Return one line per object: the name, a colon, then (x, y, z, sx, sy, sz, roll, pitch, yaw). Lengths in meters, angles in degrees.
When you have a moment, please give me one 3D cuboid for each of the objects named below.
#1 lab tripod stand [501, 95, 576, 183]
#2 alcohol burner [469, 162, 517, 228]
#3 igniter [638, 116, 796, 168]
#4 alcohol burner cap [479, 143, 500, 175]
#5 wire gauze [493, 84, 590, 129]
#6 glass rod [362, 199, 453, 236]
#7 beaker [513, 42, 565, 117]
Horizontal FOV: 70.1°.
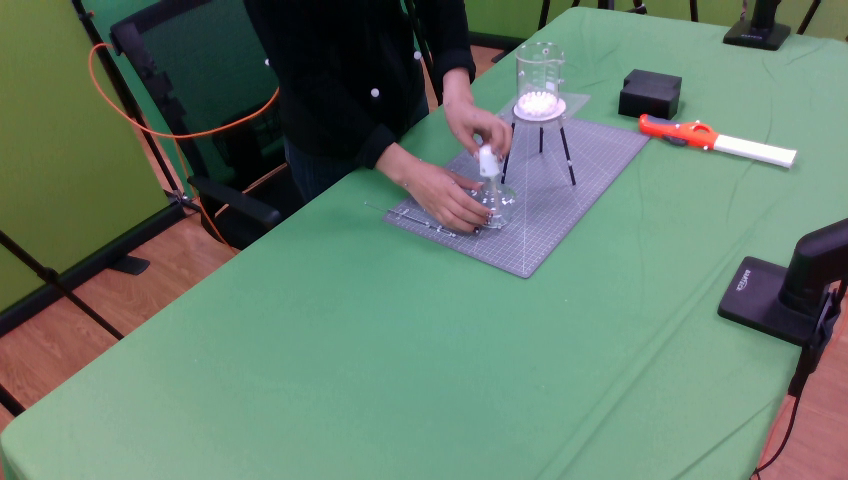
lab tripod stand: (0.204, -0.174, 1.057, 0.148, 0.132, 0.147, -4, 40, 4)
alcohol burner: (0.112, -0.079, 0.978, 0.078, 0.119, 0.077, -4, 40, 4)
igniter: (0.517, -0.181, 1.093, 0.274, 0.025, 0.057, 23, 65, 32)
alcohol burner cap: (0.101, -0.127, 0.945, 0.034, 0.048, 0.033, -9, 28, 5)
wire gauze: (0.198, -0.223, 1.013, 0.120, 0.011, 0.125, 21, 47, 28)
glass rod: (-0.032, -0.041, 1.040, 0.198, 0.008, 0.008, 22, 50, 31)
beaker: (0.187, -0.257, 0.981, 0.083, 0.101, 0.074, 21, 49, 29)
